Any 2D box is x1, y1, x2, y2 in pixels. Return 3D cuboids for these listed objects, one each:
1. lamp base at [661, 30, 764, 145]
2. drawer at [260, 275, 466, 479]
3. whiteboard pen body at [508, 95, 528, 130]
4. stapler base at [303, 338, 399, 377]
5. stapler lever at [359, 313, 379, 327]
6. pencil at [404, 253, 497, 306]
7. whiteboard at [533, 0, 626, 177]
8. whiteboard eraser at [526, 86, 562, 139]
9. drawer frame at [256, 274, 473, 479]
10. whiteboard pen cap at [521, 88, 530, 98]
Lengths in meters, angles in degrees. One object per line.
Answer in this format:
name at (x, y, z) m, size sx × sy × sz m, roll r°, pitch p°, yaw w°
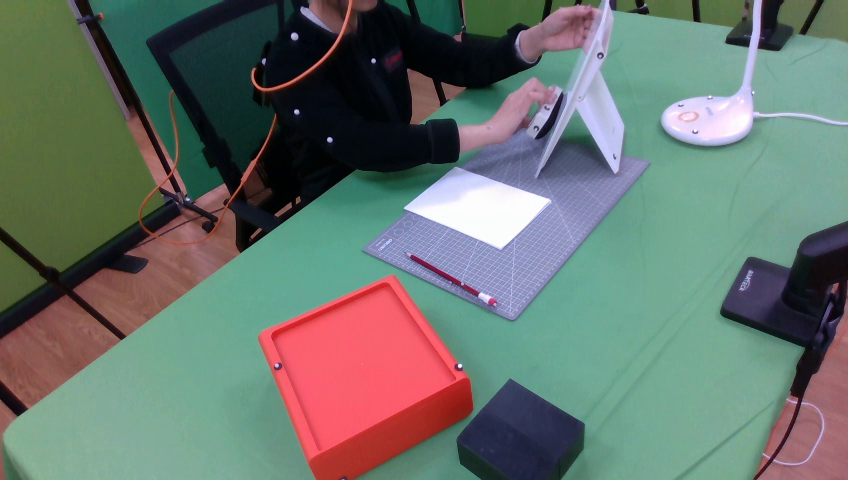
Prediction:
lamp base at (0.535, -0.287, 1.096) m, size 0.179 × 0.181 × 0.159 m, roll -10°, pitch 40°, yaw -4°
drawer at (-0.080, 0.162, 0.760) m, size 0.195 × 0.073 × 0.210 m, roll -22°, pitch 42°, yaw -16°
whiteboard pen body at (0.199, -0.272, 1.261) m, size 0.017 × 0.017 × 0.140 m, roll 8°, pitch 44°, yaw 20°
stapler base at (-0.099, 0.150, 0.805) m, size 0.130 × 0.024 × 0.041 m, roll -13°, pitch 25°, yaw 1°
stapler lever at (-0.106, 0.127, 0.792) m, size 0.118 × 0.040 × 0.026 m, roll -15°, pitch 25°, yaw 2°
pencil at (0.035, 0.056, 0.914) m, size 0.192 × 0.012 × 0.012 m, roll 27°, pitch 52°, yaw 38°
whiteboard at (0.321, -0.258, 1.050) m, size 0.144 × 0.306 × 0.217 m, roll 21°, pitch 45°, yaw 5°
whiteboard eraser at (0.229, -0.238, 1.133) m, size 0.042 × 0.055 × 0.112 m, roll 29°, pitch 48°, yaw 0°
drawer frame at (-0.078, 0.163, 0.756) m, size 0.202 × 0.083 × 0.211 m, roll -23°, pitch 43°, yaw -17°
whiteboard pen cap at (0.219, -0.312, 1.301) m, size 0.018 × 0.018 × 0.033 m, roll 6°, pitch 47°, yaw 17°
